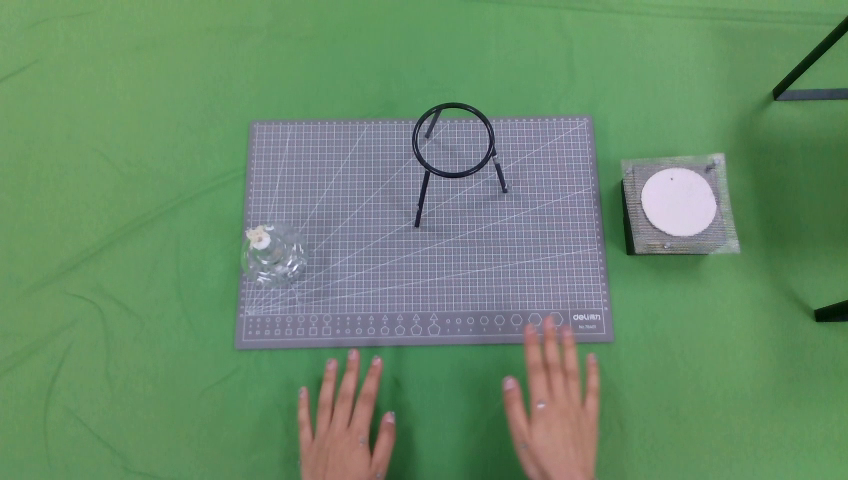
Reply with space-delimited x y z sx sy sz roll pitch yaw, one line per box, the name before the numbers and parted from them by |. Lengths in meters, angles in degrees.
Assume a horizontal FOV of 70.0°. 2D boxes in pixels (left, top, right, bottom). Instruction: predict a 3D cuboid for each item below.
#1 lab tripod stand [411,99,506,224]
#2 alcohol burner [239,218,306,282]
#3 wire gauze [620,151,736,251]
lab tripod stand | 0.029 -0.097 0.710 0.148 0.132 0.147 0 74 2
alcohol burner | -0.176 0.007 0.690 0.078 0.119 0.077 0 76 0
wire gauze | 0.300 -0.045 0.714 0.125 0.011 0.121 -2 77 0
